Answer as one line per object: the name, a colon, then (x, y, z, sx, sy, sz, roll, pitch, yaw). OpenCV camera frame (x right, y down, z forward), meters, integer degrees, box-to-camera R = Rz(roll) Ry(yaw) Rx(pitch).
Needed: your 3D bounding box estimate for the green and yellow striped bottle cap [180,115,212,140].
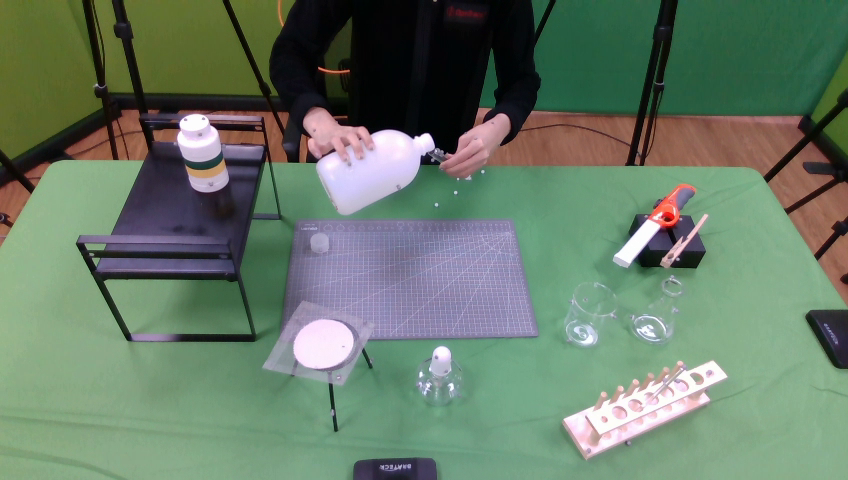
green and yellow striped bottle cap: (-0.358, -0.177, 0.951, 0.045, 0.020, 0.045, 2, 45, -2)

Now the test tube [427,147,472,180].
test tube: (0.049, -0.137, 1.093, 0.017, 0.151, 0.017, -8, 73, 29)

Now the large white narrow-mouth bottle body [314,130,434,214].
large white narrow-mouth bottle body: (-0.074, -0.124, 0.994, 0.195, 0.102, 0.101, -27, 53, -12)

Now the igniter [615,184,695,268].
igniter: (0.459, -0.035, 1.197, 0.057, 0.025, 0.276, 33, 55, 27)

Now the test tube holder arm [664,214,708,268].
test tube holder arm: (0.507, -0.001, 1.171, 0.013, 0.015, 0.178, 35, 54, 26)

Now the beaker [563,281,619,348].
beaker: (0.283, 0.129, 1.041, 0.074, 0.101, 0.083, 11, 46, 7)

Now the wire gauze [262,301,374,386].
wire gauze: (-0.150, 0.148, 0.873, 0.121, 0.011, 0.124, 14, 46, 12)

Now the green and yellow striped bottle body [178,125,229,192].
green and yellow striped bottle body: (-0.361, -0.142, 0.989, 0.063, 0.120, 0.063, 2, 46, -2)

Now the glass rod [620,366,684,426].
glass rod: (0.323, 0.227, 0.866, 0.008, 0.200, 0.008, 5, 51, -6)

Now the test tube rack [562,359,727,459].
test tube rack: (0.341, 0.247, 0.940, 0.243, 0.085, 0.066, -16, 49, -18)

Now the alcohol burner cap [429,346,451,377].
alcohol burner cap: (0.026, 0.180, 0.912, 0.034, 0.048, 0.033, 1, 47, -1)

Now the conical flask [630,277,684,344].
conical flask: (0.409, 0.117, 1.045, 0.075, 0.122, 0.075, 2, 46, -2)

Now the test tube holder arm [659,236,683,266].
test tube holder arm: (0.473, 0.020, 1.149, 0.010, 0.015, 0.088, 36, 54, 27)

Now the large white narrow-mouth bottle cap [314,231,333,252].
large white narrow-mouth bottle cap: (-0.195, 0.003, 1.178, 0.038, 0.024, 0.037, 2, 45, -2)

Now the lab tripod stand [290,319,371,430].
lab tripod stand: (-0.146, 0.194, 0.923, 0.148, 0.132, 0.147, 1, 47, -1)

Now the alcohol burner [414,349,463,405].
alcohol burner: (0.023, 0.205, 0.939, 0.078, 0.120, 0.077, 1, 47, -1)
